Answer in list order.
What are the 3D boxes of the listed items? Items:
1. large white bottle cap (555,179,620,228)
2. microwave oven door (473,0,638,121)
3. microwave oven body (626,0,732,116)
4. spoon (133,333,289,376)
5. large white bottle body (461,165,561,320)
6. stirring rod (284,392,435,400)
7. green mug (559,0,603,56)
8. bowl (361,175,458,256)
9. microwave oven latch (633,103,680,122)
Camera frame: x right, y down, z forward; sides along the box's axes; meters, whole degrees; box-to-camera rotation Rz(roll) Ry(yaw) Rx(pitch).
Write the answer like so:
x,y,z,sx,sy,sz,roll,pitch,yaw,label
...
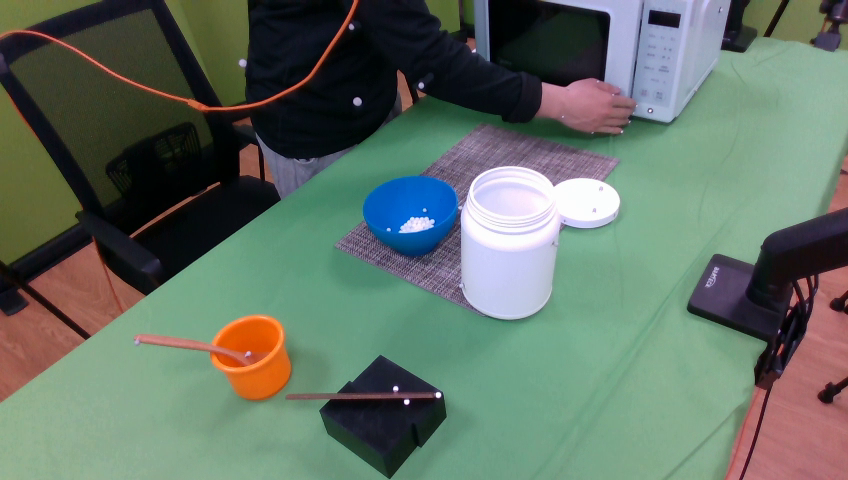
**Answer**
x,y,z,sx,sy,sz,roll,pitch,yaw,label
0.265,-0.062,1.001,0.115,0.018,0.114,-3,41,4,large white bottle cap
0.249,-0.389,1.192,0.353,0.245,0.039,25,50,32,microwave oven door
0.377,-0.463,1.267,0.438,0.261,0.327,21,49,30,microwave oven body
-0.257,0.137,0.747,0.021,0.195,0.041,-47,40,23,spoon
0.115,0.004,0.816,0.130,0.185,0.130,-2,43,2,large white bottle body
-0.075,0.180,0.698,0.176,0.006,0.014,-1,6,7,stirring rod
0.333,-0.451,1.294,0.092,0.105,0.125,10,47,22,green mug
-0.019,-0.028,0.955,0.151,0.077,0.150,-4,40,4,bowl
0.443,-0.249,1.158,0.078,0.029,0.030,21,49,30,microwave oven latch
